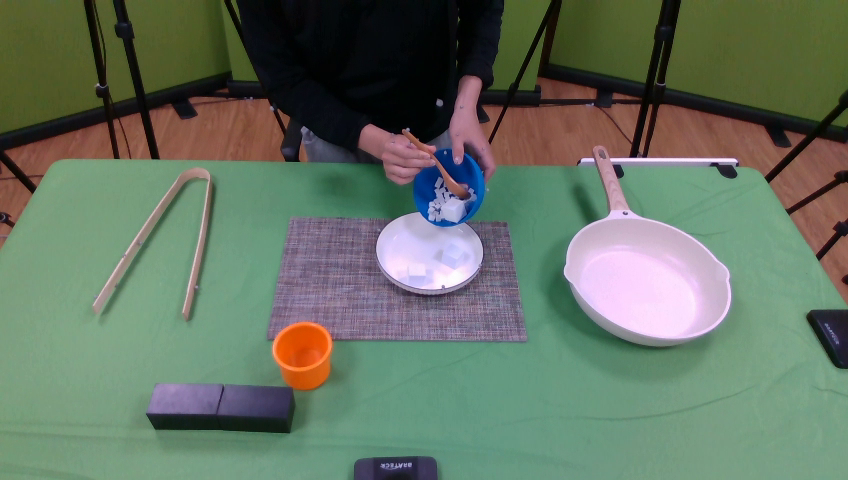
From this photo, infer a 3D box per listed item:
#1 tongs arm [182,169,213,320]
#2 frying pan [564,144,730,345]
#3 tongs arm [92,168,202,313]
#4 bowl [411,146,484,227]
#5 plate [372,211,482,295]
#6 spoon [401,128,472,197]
[{"bbox_3d":[-0.436,-0.006,1.166,0.028,0.028,0.385,-5,46,-6],"label":"tongs arm"},{"bbox_3d":[0.396,-0.008,1.179,0.307,0.103,0.484,0,55,-5],"label":"frying pan"},{"bbox_3d":[-0.518,-0.012,1.160,0.051,0.026,0.382,7,45,1],"label":"tongs arm"},{"bbox_3d":[0.058,-0.100,1.160,0.150,0.151,0.077,38,22,28],"label":"bowl"},{"bbox_3d":[0.005,0.028,1.155,0.208,0.039,0.206,2,46,-2],"label":"plate"},{"bbox_3d":[0.022,-0.137,1.095,0.041,0.195,0.021,8,58,54],"label":"spoon"}]
